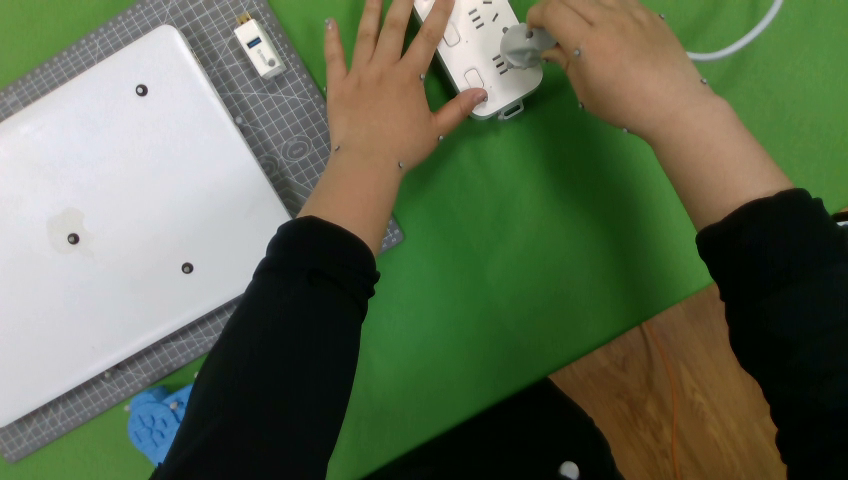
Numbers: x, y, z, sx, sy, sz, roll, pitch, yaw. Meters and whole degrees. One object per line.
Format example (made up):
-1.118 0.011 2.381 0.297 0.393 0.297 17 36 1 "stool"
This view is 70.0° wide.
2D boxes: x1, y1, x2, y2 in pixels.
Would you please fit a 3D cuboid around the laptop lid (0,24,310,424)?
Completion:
-0.308 -0.004 0.545 0.356 0.013 0.242 -27 98 5 "laptop lid"

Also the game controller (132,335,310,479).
-0.194 0.156 0.562 0.155 0.051 0.097 -29 91 5 "game controller"

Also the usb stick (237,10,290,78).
-0.142 -0.172 0.524 0.021 0.027 0.059 -29 93 7 "usb stick"

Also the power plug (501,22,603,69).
0.098 -0.153 0.483 0.073 0.052 0.035 6 94 -7 "power plug"

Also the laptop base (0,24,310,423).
-0.309 -0.007 0.557 0.354 0.023 0.236 -29 99 5 "laptop base"

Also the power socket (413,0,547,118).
0.029 -0.210 0.513 0.072 0.032 0.227 -28 96 7 "power socket"
